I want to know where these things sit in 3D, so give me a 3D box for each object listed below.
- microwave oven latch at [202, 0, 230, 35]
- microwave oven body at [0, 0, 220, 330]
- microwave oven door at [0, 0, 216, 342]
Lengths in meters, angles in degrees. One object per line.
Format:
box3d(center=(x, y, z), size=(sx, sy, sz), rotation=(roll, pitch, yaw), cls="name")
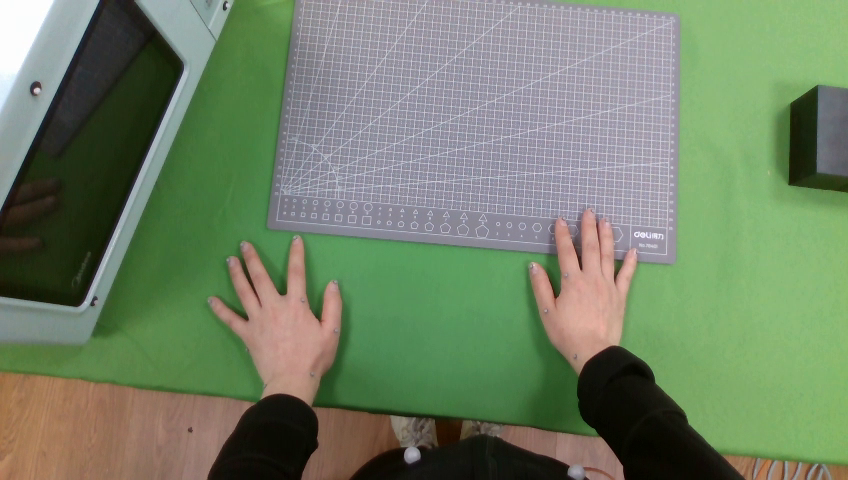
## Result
box3d(center=(-0.231, -0.270, 0.670), size=(0.030, 0.029, 0.079), rotation=(20, 81, 2), cls="microwave oven latch")
box3d(center=(-0.427, -0.170, 0.550), size=(0.326, 0.261, 0.440), rotation=(19, 81, 1), cls="microwave oven body")
box3d(center=(-0.302, -0.085, 0.534), size=(0.039, 0.244, 0.354), rotation=(19, 80, 3), cls="microwave oven door")
